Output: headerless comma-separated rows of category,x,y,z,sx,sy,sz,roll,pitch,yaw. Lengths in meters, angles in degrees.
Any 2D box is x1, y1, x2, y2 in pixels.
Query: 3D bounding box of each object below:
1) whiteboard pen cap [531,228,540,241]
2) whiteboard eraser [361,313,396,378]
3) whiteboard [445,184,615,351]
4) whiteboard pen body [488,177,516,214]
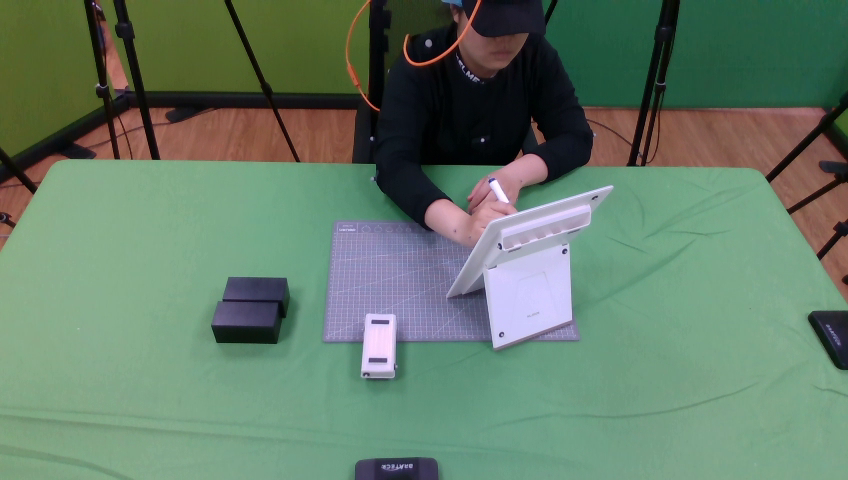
whiteboard pen cap,0.225,-0.011,1.221,0.018,0.018,0.033,12,29,8
whiteboard eraser,-0.075,0.176,1.006,0.055,0.042,0.112,3,50,-4
whiteboard,0.187,0.066,0.989,0.217,0.306,0.143,-15,68,-18
whiteboard pen body,0.152,-0.049,1.053,0.017,0.017,0.140,-25,80,-25
